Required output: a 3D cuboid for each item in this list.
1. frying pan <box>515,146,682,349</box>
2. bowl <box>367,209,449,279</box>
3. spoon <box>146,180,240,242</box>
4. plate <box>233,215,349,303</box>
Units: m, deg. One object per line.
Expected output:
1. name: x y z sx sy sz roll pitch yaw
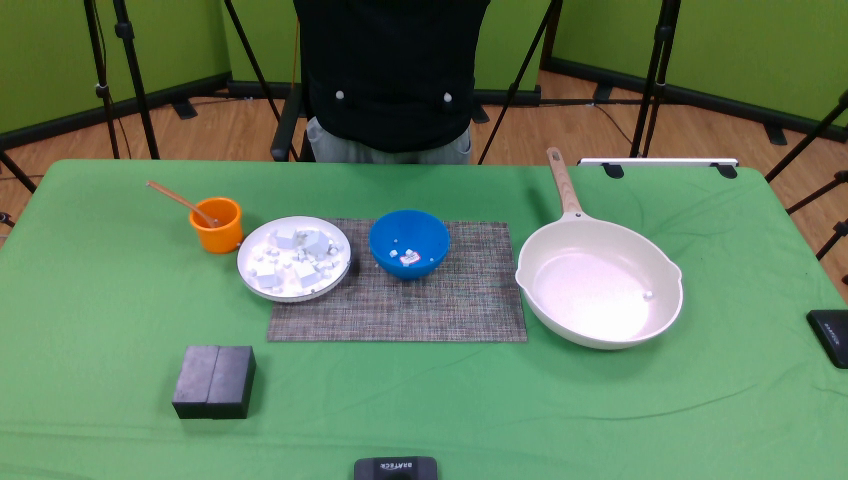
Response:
1. frying pan: 0.303 -0.004 1.168 0.307 0.103 0.484 -1 55 -7
2. bowl: -0.031 0.020 1.132 0.151 0.077 0.150 2 46 -2
3. spoon: -0.428 -0.055 1.130 0.021 0.195 0.041 -29 36 31
4. plate: -0.244 0.039 1.125 0.208 0.039 0.206 3 46 -2
